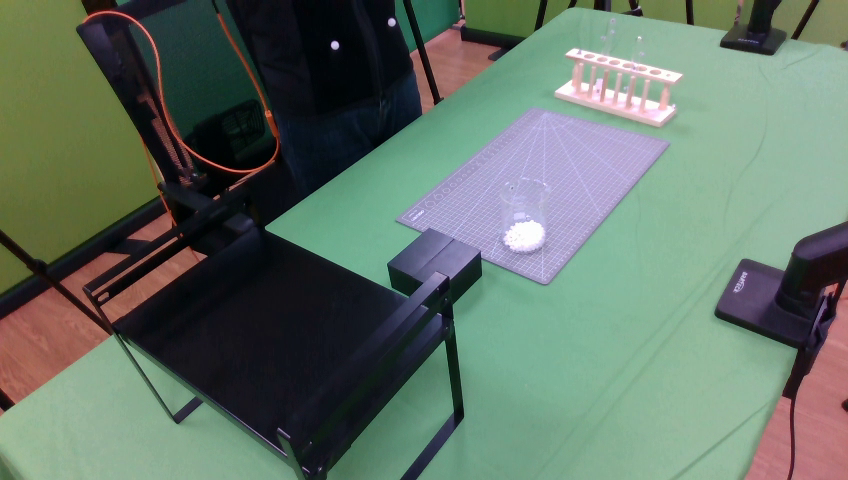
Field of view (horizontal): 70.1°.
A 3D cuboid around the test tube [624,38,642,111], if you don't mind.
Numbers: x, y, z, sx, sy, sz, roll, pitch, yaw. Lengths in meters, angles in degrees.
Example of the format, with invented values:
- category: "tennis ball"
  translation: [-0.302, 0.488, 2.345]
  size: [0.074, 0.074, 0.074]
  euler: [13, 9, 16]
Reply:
- category: "test tube"
  translation: [0.404, -0.318, 1.171]
  size: [0.017, 0.151, 0.017]
  euler: [-4, 42, 4]

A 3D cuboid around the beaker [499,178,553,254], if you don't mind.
- category: "beaker"
  translation: [0.157, -0.036, 0.929]
  size: [0.084, 0.100, 0.073]
  euler: [-16, 41, -12]

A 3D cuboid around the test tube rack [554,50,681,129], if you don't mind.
- category: "test tube rack"
  translation: [0.387, -0.311, 1.234]
  size: [0.240, 0.085, 0.067]
  euler: [28, 52, 34]

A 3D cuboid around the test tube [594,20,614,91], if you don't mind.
- category: "test tube"
  translation: [0.366, -0.372, 1.233]
  size: [0.017, 0.151, 0.017]
  euler: [-1, 43, 1]
